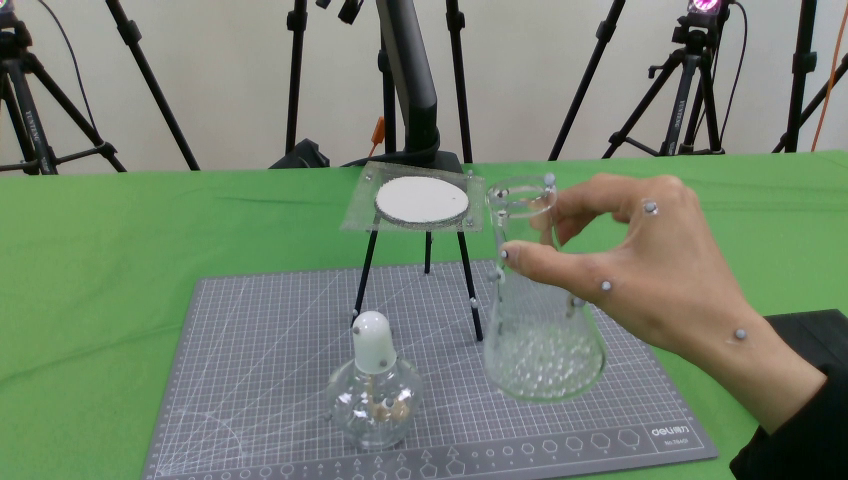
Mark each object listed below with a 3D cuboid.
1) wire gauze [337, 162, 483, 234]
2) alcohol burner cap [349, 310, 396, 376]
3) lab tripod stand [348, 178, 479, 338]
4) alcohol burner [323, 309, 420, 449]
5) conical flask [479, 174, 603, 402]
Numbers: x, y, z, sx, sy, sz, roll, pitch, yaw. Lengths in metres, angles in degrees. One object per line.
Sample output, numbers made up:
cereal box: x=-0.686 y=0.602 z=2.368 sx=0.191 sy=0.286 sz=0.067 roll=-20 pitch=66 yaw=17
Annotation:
wire gauze: x=-0.007 y=-0.039 z=0.557 sx=0.121 sy=0.011 sz=0.124 roll=5 pitch=33 yaw=3
alcohol burner cap: x=-0.040 y=0.075 z=0.453 sx=0.034 sy=0.048 sz=0.033 roll=-3 pitch=36 yaw=3
lab tripod stand: x=-0.003 y=0.018 z=0.593 sx=0.148 sy=0.132 sz=0.147 roll=3 pitch=32 yaw=-2
alcohol burner: x=-0.041 y=0.104 z=0.473 sx=0.078 sy=0.120 sz=0.077 roll=1 pitch=31 yaw=0
conical flask: x=0.061 y=0.025 z=0.346 sx=0.075 sy=0.123 sz=0.074 roll=-10 pitch=27 yaw=5
